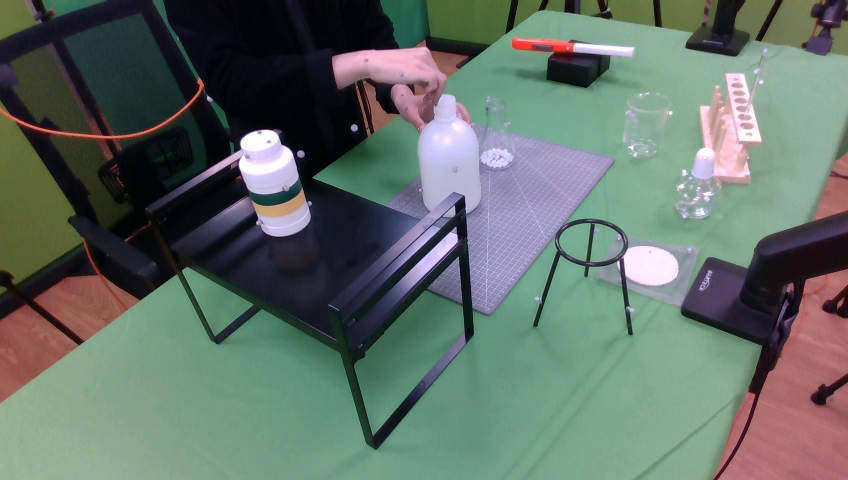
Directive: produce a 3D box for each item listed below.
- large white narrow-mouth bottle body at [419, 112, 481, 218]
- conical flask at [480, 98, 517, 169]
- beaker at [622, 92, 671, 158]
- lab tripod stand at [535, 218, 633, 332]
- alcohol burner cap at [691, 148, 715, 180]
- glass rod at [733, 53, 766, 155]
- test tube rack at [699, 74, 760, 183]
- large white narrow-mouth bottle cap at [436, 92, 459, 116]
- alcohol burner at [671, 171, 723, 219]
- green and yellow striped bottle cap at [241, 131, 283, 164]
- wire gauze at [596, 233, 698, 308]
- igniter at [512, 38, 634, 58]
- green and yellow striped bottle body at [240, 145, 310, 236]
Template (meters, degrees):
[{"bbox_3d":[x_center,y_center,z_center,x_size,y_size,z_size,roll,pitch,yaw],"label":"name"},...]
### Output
[{"bbox_3d":[0.043,-0.138,0.998,0.102,0.195,0.101,-3,39,3],"label":"large white narrow-mouth bottle body"},{"bbox_3d":[0.133,-0.198,1.108,0.075,0.122,0.075,-4,41,4],"label":"conical flask"},{"bbox_3d":[0.402,-0.210,1.106,0.074,0.101,0.083,-9,40,-2],"label":"beaker"},{"bbox_3d":[0.215,0.050,0.803,0.148,0.132,0.147,-4,42,4],"label":"lab tripod stand"},{"bbox_3d":[0.432,-0.120,0.930,0.034,0.048,0.033,-7,48,8],"label":"alcohol burner cap"},{"bbox_3d":[0.540,-0.220,1.007,0.008,0.201,0.008,-5,45,6],"label":"glass rod"},{"bbox_3d":[0.547,-0.208,1.095,0.066,0.085,0.242,6,42,16],"label":"test tube rack"},{"bbox_3d":[0.037,-0.211,0.939,0.038,0.024,0.037,-3,38,3],"label":"large white narrow-mouth bottle cap"},{"bbox_3d":[0.434,-0.093,0.955,0.078,0.119,0.077,-3,43,4],"label":"alcohol burner"},{"bbox_3d":[-0.187,-0.107,0.695,0.045,0.020,0.045,-4,39,4],"label":"green and yellow striped bottle cap"},{"bbox_3d":[0.331,0.038,0.897,0.124,0.011,0.121,18,47,26],"label":"wire gauze"},{"bbox_3d":[0.328,-0.433,1.360,0.275,0.025,0.057,12,33,20],"label":"igniter"},{"bbox_3d":[-0.181,-0.068,0.729,0.063,0.120,0.063,-4,40,4],"label":"green and yellow striped bottle body"}]
